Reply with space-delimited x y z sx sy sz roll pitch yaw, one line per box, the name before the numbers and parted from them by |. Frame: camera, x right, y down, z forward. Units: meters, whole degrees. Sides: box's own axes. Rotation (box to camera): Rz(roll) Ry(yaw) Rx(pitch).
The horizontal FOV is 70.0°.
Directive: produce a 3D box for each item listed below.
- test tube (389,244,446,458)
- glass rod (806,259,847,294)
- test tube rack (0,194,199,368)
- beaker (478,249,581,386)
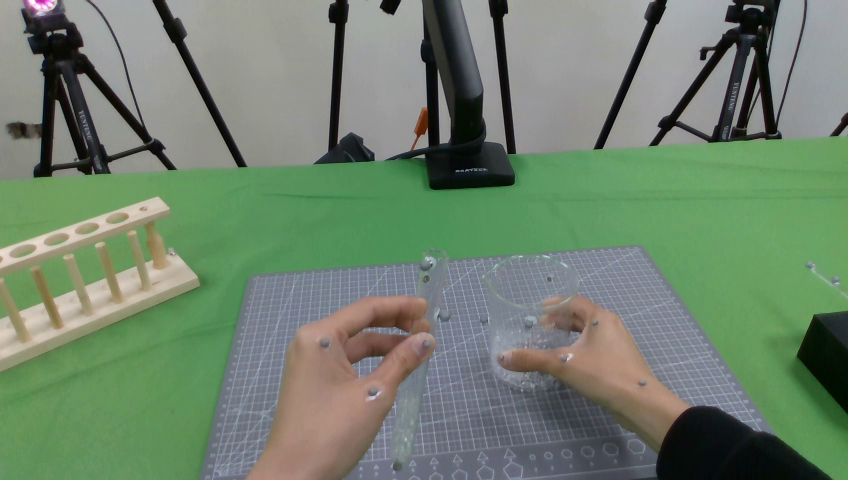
test tube | -0.005 0.073 0.375 0.017 0.151 0.017 8 21 -3
glass rod | 0.395 0.072 0.503 0.008 0.008 0.197 -10 35 -12
test tube rack | -0.358 0.043 0.592 0.243 0.086 0.066 -26 42 -32
beaker | 0.088 0.069 0.522 0.083 0.101 0.073 8 36 16
